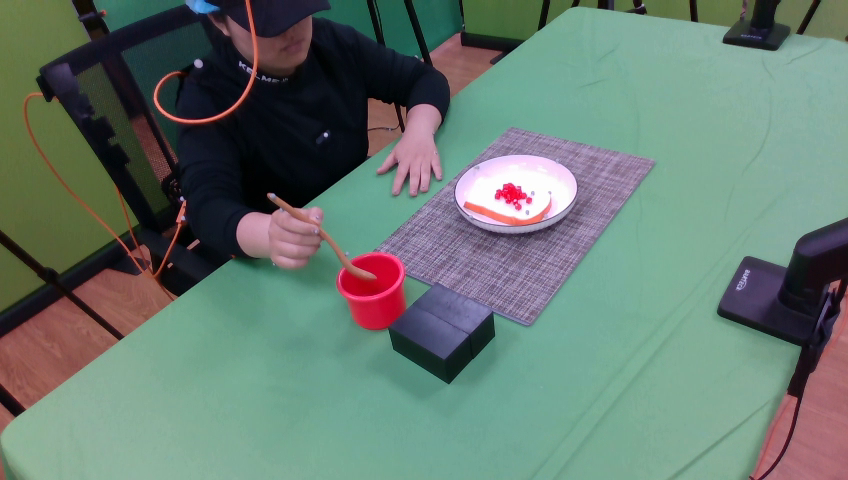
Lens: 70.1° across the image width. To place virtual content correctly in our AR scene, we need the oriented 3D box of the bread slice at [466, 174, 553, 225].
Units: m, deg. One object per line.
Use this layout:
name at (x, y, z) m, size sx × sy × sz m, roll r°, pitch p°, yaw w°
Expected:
bread slice at (0.152, -0.067, 1.022) m, size 0.130 × 0.019 × 0.105 m, roll 23°, pitch 50°, yaw 33°

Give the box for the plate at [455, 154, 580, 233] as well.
plate at (0.158, -0.076, 1.028) m, size 0.209 × 0.038 × 0.208 m, roll -5°, pitch 40°, yaw 5°

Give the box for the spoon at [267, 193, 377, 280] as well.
spoon at (-0.132, -0.002, 0.801) m, size 0.021 × 0.195 × 0.041 m, roll -47°, pitch 30°, yaw -6°
